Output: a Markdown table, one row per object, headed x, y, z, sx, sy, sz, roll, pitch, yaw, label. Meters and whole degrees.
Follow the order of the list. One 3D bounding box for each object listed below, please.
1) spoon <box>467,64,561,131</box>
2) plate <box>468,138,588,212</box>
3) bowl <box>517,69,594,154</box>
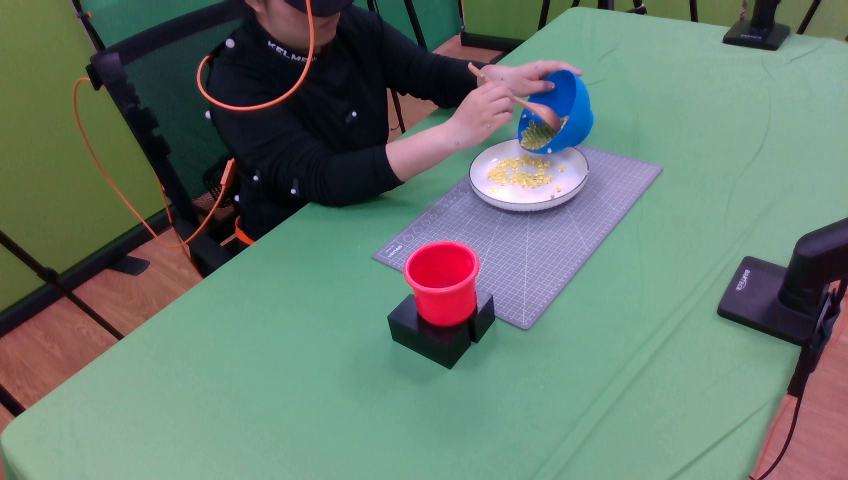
| x | y | z | sx | sy | sz | roll | pitch | yaw | label |
| --- | --- | --- | --- | --- | --- | --- | --- | --- | --- |
| 0.154 | -0.241 | 1.019 | 0.194 | 0.021 | 0.041 | 27 | 49 | -9 | spoon |
| 0.182 | -0.111 | 1.064 | 0.207 | 0.039 | 0.206 | -5 | 40 | 5 | plate |
| 0.240 | -0.210 | 1.052 | 0.077 | 0.151 | 0.150 | 20 | 32 | -26 | bowl |
